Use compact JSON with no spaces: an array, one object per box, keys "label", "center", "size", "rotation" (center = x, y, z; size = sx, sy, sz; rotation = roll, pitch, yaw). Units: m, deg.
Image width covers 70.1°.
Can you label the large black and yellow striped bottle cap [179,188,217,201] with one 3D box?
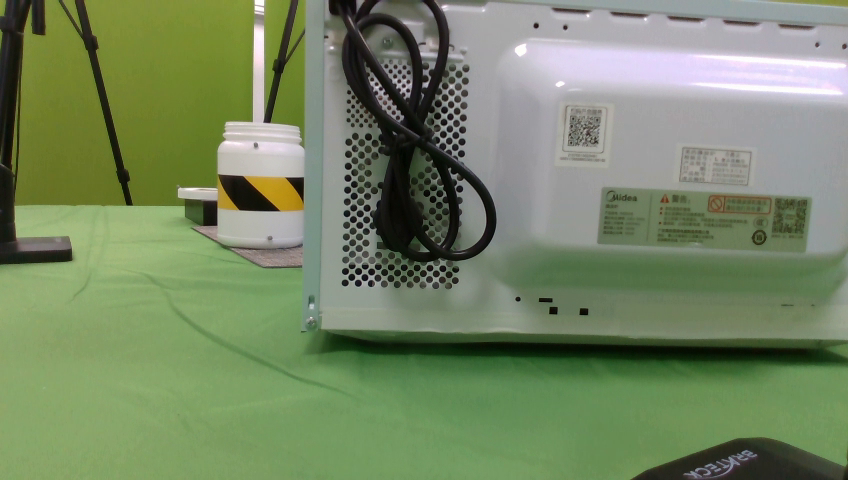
[{"label":"large black and yellow striped bottle cap","center":[-0.434,-0.093,1.226],"size":[0.115,0.019,0.115],"rotation":[3,9,0]}]

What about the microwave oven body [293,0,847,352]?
[{"label":"microwave oven body","center":[0.122,-0.055,0.550],"size":[0.442,0.260,0.325],"rotation":[3,7,-5]}]

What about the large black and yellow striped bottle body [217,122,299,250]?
[{"label":"large black and yellow striped bottle body","center":[-0.250,-0.084,0.931],"size":[0.131,0.184,0.130],"rotation":[3,7,0]}]

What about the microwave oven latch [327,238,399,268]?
[{"label":"microwave oven latch","center":[-0.069,0.015,0.694],"size":[0.079,0.029,0.030],"rotation":[3,7,-3]}]

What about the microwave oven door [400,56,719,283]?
[{"label":"microwave oven door","center":[0.155,-0.077,0.698],"size":[0.356,0.243,0.039],"rotation":[2,8,-5]}]
